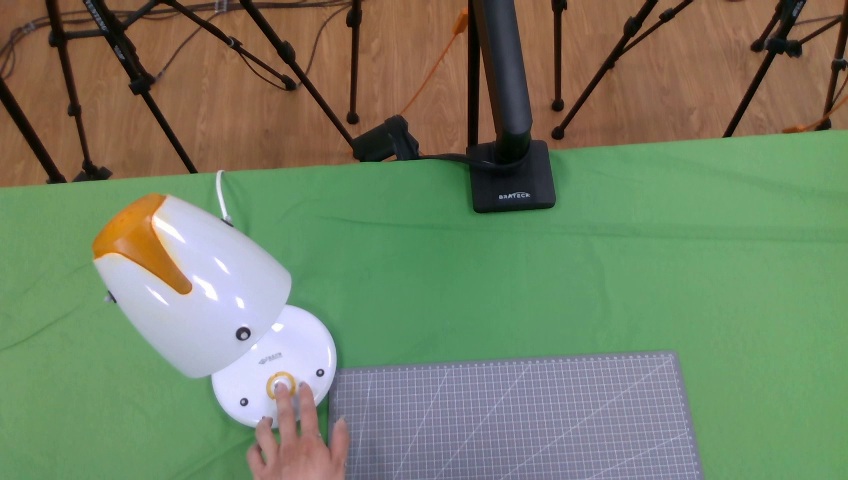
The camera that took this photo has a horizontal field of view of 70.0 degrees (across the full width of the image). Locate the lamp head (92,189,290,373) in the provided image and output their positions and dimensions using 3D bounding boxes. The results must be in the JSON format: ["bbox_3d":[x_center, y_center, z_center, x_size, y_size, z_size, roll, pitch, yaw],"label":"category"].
[{"bbox_3d":[-0.181,0.020,0.455,0.112,0.124,0.111,-29,28,18],"label":"lamp head"}]

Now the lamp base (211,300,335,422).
[{"bbox_3d":[-0.206,0.113,0.722,0.160,0.182,0.177,-31,65,-11],"label":"lamp base"}]
